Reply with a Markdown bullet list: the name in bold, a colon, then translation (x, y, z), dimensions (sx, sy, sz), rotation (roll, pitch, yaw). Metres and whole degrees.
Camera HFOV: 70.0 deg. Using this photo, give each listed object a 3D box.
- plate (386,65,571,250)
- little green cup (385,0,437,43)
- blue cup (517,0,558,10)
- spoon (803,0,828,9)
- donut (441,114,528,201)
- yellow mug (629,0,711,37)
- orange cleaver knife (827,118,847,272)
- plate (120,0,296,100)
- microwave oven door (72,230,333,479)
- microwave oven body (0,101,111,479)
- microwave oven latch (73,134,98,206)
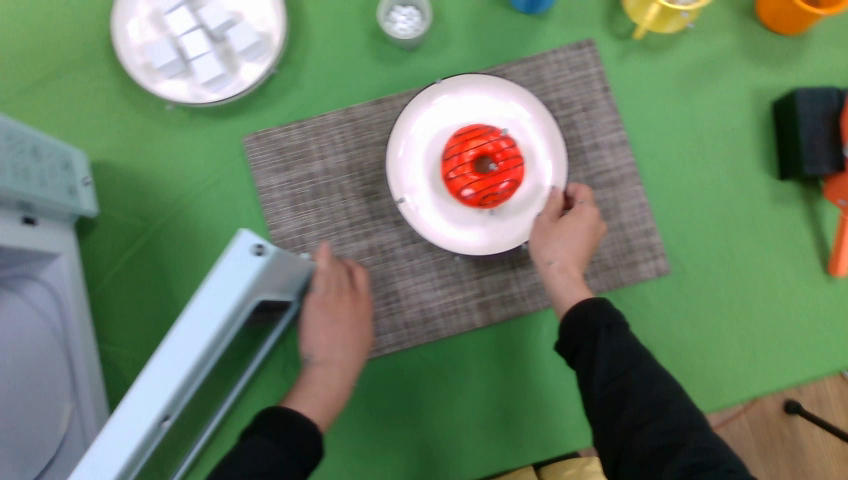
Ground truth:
- **plate**: translation (0.061, -0.092, 0.691), dimensions (0.209, 0.038, 0.209), rotation (0, 89, -2)
- **little green cup**: translation (-0.015, -0.272, 0.734), dimensions (0.061, 0.039, 0.061), rotation (0, 85, 0)
- **blue cup**: translation (0.140, -0.318, 0.707), dimensions (0.093, 0.100, 0.092), rotation (0, 86, -1)
- **spoon**: translation (0.422, -0.288, 0.681), dimensions (0.021, 0.194, 0.041), rotation (-23, 83, 43)
- **donut**: translation (0.067, -0.092, 0.680), dimensions (0.099, 0.048, 0.099), rotation (0, 89, 0)
- **yellow mug**: translation (0.294, -0.300, 0.722), dimensions (0.100, 0.064, 0.130), rotation (32, 87, 3)
- **orange cleaver knife**: translation (0.489, -0.067, 0.696), dimensions (0.012, 0.076, 0.213), rotation (-1, 115, 2)
- **plate**: translation (-0.256, -0.267, 0.734), dimensions (0.208, 0.039, 0.207), rotation (0, 85, 0)
- **microwave oven door**: translation (-0.223, 0.151, 0.581), dimensions (0.039, 0.244, 0.355), rotation (34, 86, 5)
- **microwave oven body**: translation (-0.507, 0.115, 0.588), dimensions (0.326, 0.260, 0.440), rotation (-13, 86, -1)
- **microwave oven latch**: translation (-0.401, -0.080, 0.700), dimensions (0.030, 0.029, 0.079), rotation (-10, 86, -1)
